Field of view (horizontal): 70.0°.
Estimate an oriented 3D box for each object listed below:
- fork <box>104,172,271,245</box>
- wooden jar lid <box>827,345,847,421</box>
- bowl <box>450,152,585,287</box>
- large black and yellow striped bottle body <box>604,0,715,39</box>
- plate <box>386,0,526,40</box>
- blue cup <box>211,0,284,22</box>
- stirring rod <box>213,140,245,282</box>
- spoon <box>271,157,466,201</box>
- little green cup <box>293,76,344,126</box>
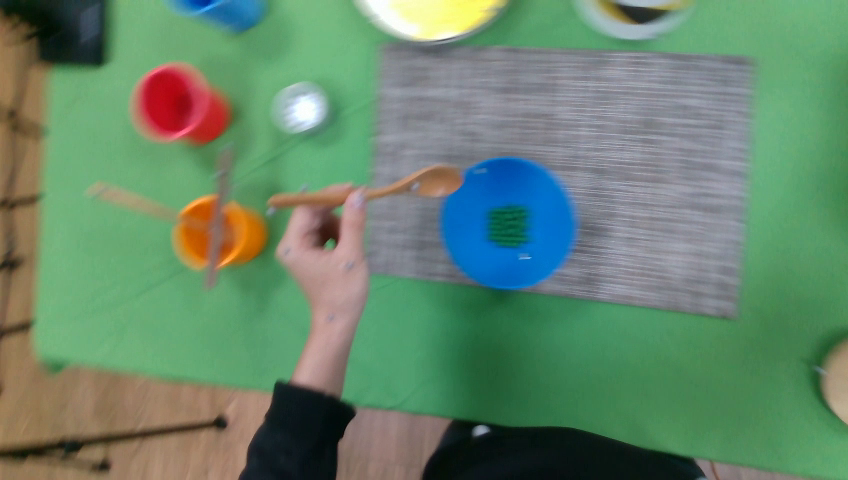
[{"bbox_3d":[-0.290,-0.039,0.758,0.209,0.018,0.028,24,97,-33],"label":"fork"},{"bbox_3d":[0.501,0.158,0.665,0.108,0.021,0.108,0,90,12],"label":"wooden jar lid"},{"bbox_3d":[0.111,-0.021,0.711,0.151,0.077,0.151,0,89,12],"label":"bowl"},{"bbox_3d":[0.261,-0.304,0.635,0.130,0.184,0.130,0,89,12],"label":"large black and yellow striped bottle body"},{"bbox_3d":[0.044,-0.349,0.753,0.209,0.038,0.209,0,90,11],"label":"plate"},{"bbox_3d":[-0.228,-0.326,0.773,0.092,0.100,0.092,0,89,13],"label":"blue cup"},{"bbox_3d":[-0.240,-0.036,0.745,0.014,0.006,0.176,10,91,9],"label":"stirring rod"},{"bbox_3d":[-0.041,-0.050,0.535,0.021,0.194,0.042,58,140,23],"label":"spoon"},{"bbox_3d":[-0.134,-0.177,0.785,0.061,0.039,0.061,0,89,12],"label":"little green cup"}]
